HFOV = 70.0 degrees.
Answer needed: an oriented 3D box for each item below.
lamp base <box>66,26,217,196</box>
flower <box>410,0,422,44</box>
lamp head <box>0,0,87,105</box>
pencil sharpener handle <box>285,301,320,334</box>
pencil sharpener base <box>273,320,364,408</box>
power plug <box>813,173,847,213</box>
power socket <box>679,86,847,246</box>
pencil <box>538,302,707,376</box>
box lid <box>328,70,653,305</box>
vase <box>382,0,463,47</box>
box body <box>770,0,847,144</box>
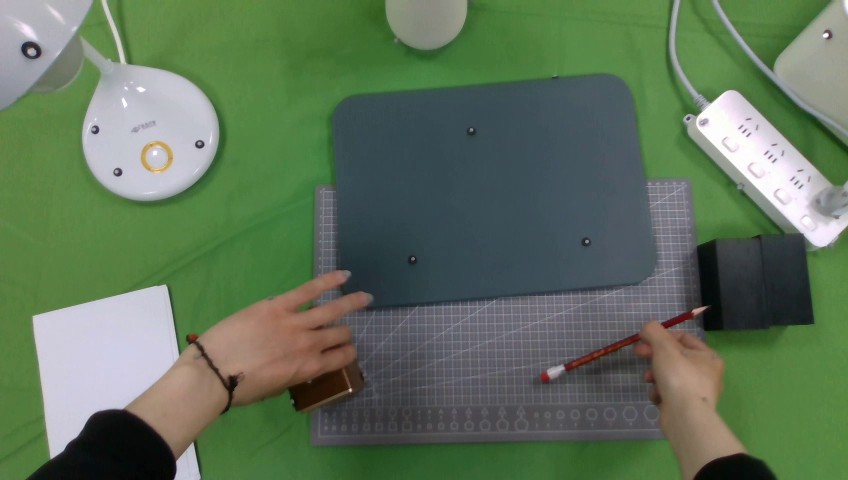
[{"bbox_3d":[-0.335,-0.153,0.647,0.160,0.181,0.178,-32,79,-6],"label":"lamp base"},{"bbox_3d":[0.009,-0.327,0.587,0.044,0.364,0.038,-27,70,-20],"label":"flower"},{"bbox_3d":[-0.292,-0.162,0.371,0.112,0.124,0.111,-23,47,28],"label":"lamp head"},{"bbox_3d":[-0.127,0.078,0.633,0.036,0.068,0.030,-24,79,3],"label":"pencil sharpener handle"},{"bbox_3d":[-0.109,0.127,0.637,0.061,0.107,0.076,-23,80,-4],"label":"pencil sharpener base"},{"bbox_3d":[0.477,-0.058,0.690,0.072,0.053,0.035,-31,79,-10],"label":"power plug"},{"bbox_3d":[0.405,-0.088,0.718,0.072,0.033,0.226,-41,83,-7],"label":"power socket"},{"bbox_3d":[0.213,0.107,0.658,0.194,0.012,0.012,-26,81,11],"label":"pencil"},{"bbox_3d":[0.077,-0.067,0.722,0.372,0.015,0.262,-5,80,-1],"label":"box lid"},{"bbox_3d":[-0.001,-0.298,0.666,0.098,0.200,0.098,0,79,-1],"label":"vase"},{"bbox_3d":[0.617,-0.187,0.670,0.363,0.161,0.254,44,83,6],"label":"box body"}]
